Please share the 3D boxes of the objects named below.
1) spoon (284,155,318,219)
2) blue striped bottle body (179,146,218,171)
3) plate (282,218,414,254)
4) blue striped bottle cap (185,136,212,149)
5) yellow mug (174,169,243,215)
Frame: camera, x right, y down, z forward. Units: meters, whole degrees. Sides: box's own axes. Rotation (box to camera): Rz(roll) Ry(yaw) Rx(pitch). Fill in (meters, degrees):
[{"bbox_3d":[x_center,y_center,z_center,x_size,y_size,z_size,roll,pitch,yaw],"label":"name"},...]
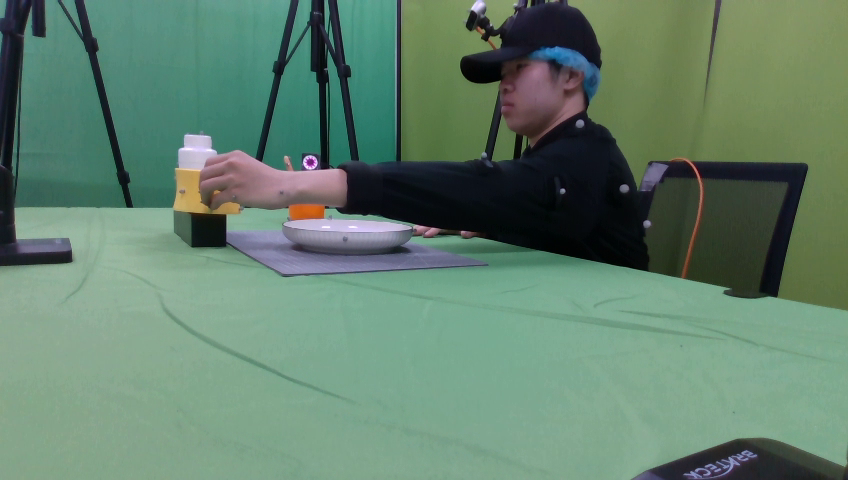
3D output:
[{"bbox_3d":[-0.286,-0.122,1.367,0.042,0.021,0.193,-6,51,-36],"label":"spoon"},{"bbox_3d":[-0.392,-0.119,1.053,0.063,0.120,0.063,2,8,0],"label":"blue striped bottle body"},{"bbox_3d":[-0.121,-0.007,0.970,0.208,0.039,0.207,2,7,0],"label":"plate"},{"bbox_3d":[-0.390,-0.169,1.047,0.044,0.020,0.044,4,9,0],"label":"blue striped bottle cap"},{"bbox_3d":[-0.334,-0.075,0.942,0.100,0.064,0.130,2,7,-23],"label":"yellow mug"}]
